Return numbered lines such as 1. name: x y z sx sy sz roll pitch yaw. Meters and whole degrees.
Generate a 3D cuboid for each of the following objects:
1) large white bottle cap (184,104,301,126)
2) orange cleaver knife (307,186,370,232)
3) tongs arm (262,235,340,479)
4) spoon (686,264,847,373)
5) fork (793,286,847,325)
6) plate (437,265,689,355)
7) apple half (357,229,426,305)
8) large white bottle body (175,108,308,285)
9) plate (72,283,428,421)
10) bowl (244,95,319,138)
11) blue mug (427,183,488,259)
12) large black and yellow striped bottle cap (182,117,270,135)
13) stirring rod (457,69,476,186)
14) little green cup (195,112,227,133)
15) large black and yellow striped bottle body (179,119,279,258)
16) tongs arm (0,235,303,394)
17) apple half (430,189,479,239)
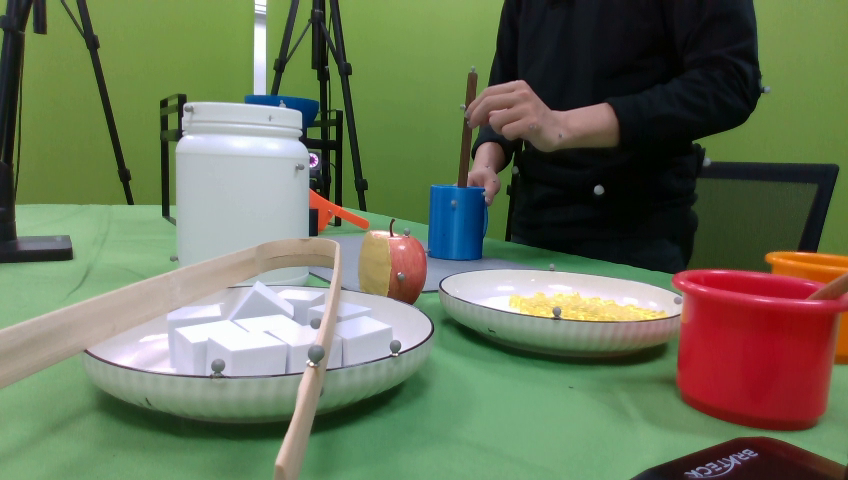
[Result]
1. large white bottle cap: -0.184 -0.126 0.618 0.115 0.018 0.115 2 8 0
2. orange cleaver knife: -0.197 -0.056 1.141 0.212 0.077 0.012 29 0 -34
3. tongs arm: -0.074 0.039 0.349 0.051 0.026 0.384 -2 10 -3
4. spoon: 0.214 0.032 0.328 0.042 0.021 0.193 -3 -35 -26
5. fork: 0.331 0.018 0.442 0.028 0.018 0.207 -2 -36 -15
6. plate: 0.114 0.057 0.517 0.209 0.038 0.209 3 8 0
7. apple half: -0.026 0.028 0.570 0.053 0.074 0.080 3 2 -28
8. large white bottle body: -0.188 -0.042 0.630 0.131 0.184 0.130 2 8 0
9. plate: -0.102 0.066 0.381 0.208 0.039 0.207 2 7 0
10. bowl: -0.293 -0.251 1.249 0.151 0.077 0.151 2 7 0
11. blue mug: 0.059 -0.031 0.906 0.082 0.106 0.117 9 10 42
12. large black and yellow striped bottle cap: -0.272 -0.156 0.833 0.115 0.019 0.115 1 7 0
13. stirring rod: 0.058 -0.146 0.840 0.014 0.176 0.006 6 13 7
14. little green cup: -0.412 -0.227 1.171 0.061 0.038 0.061 3 8 0
15. large black and yellow striped bottle body: -0.271 -0.074 0.846 0.131 0.184 0.130 0 9 0
16. tongs arm: -0.157 0.038 0.351 0.028 0.028 0.388 -3 8 12
17. apple half: 0.045 -0.042 0.902 0.081 0.081 0.032 1 18 -5
